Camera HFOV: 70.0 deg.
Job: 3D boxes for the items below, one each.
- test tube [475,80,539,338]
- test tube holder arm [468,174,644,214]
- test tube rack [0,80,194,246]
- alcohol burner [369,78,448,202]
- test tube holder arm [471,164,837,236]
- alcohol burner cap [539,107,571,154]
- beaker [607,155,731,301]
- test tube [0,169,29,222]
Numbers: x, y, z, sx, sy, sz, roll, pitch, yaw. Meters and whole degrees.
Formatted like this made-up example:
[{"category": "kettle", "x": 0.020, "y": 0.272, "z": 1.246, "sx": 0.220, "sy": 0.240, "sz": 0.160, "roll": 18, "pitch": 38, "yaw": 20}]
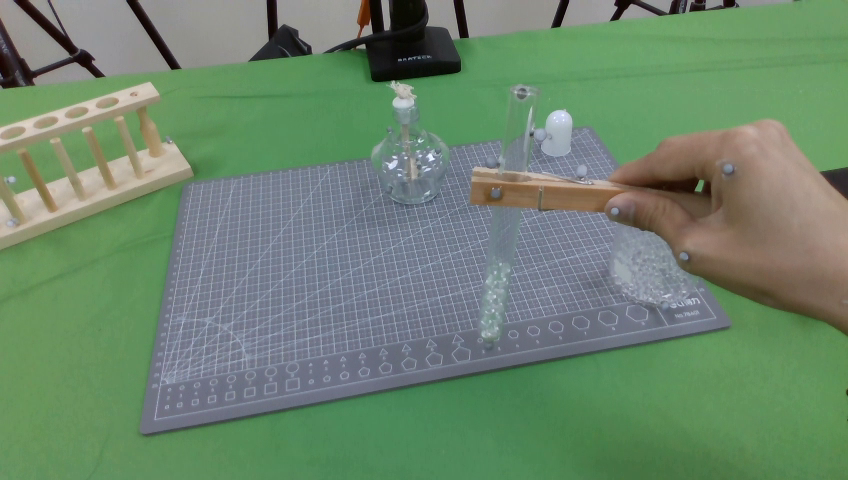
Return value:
[{"category": "test tube", "x": 0.042, "y": -0.009, "z": 0.326, "sx": 0.017, "sy": 0.151, "sz": 0.017, "roll": 4, "pitch": 28, "yaw": -2}, {"category": "test tube holder arm", "x": 0.066, "y": -0.024, "z": 0.309, "sx": 0.088, "sy": 0.015, "sz": 0.010, "roll": 4, "pitch": 31, "yaw": 2}, {"category": "test tube rack", "x": -0.367, "y": -0.071, "z": 0.596, "sx": 0.242, "sy": 0.086, "sz": 0.066, "roll": -26, "pitch": 48, "yaw": -23}, {"category": "alcohol burner", "x": -0.016, "y": -0.097, "z": 0.579, "sx": 0.078, "sy": 0.120, "sz": 0.077, "roll": -3, "pitch": 42, "yaw": 3}, {"category": "test tube holder arm", "x": 0.112, "y": -0.021, "z": 0.309, "sx": 0.178, "sy": 0.015, "sz": 0.013, "roll": 8, "pitch": 31, "yaw": 9}, {"category": "alcohol burner cap", "x": 0.140, "y": -0.119, "z": 0.645, "sx": 0.034, "sy": 0.048, "sz": 0.033, "roll": -2, "pitch": 43, "yaw": 2}, {"category": "beaker", "x": 0.185, "y": -0.008, "z": 0.482, "sx": 0.074, "sy": 0.101, "sz": 0.083, "roll": -30, "pitch": 49, "yaw": -26}, {"category": "test tube", "x": -0.396, "y": -0.077, "z": 0.539, "sx": 0.017, "sy": 0.152, "sz": 0.017, "roll": -3, "pitch": 42, "yaw": 3}]
